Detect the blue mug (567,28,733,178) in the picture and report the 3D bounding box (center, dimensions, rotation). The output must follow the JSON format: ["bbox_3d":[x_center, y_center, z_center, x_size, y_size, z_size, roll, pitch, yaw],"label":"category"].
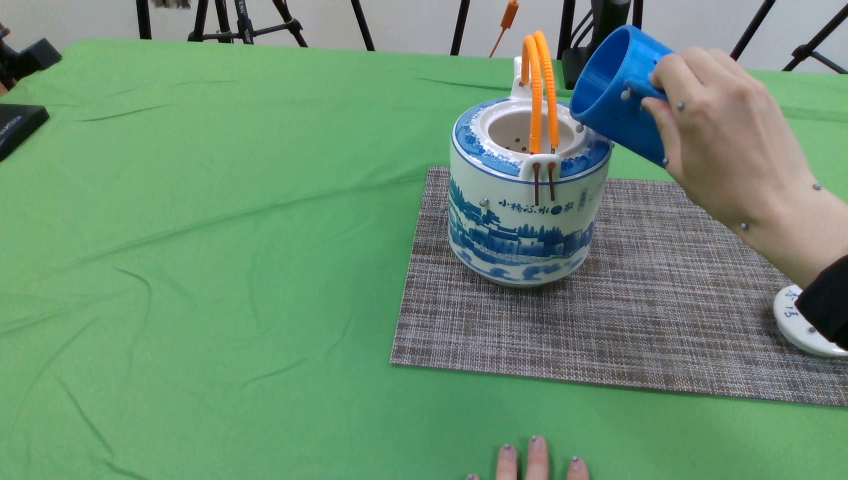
[{"bbox_3d":[0.183,-0.105,0.483,0.106,0.082,0.115,25,15,-13],"label":"blue mug"}]

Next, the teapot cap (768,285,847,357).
[{"bbox_3d":[0.357,0.067,0.544,0.085,0.044,0.084,2,41,-1],"label":"teapot cap"}]

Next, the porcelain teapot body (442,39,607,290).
[{"bbox_3d":[0.092,-0.090,0.582,0.145,0.227,0.203,0,42,-1],"label":"porcelain teapot body"}]
